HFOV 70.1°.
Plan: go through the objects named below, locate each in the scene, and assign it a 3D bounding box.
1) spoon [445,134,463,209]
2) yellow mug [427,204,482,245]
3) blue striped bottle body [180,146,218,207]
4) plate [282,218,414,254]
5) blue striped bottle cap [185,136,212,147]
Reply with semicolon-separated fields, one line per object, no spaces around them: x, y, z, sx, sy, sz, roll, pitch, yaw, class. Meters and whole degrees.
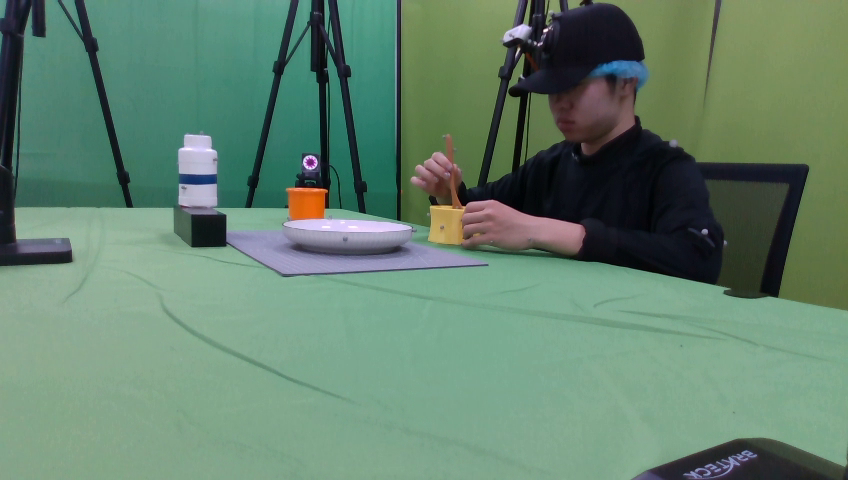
0.056;-0.102;1.137;0.041;0.193;0.022;2;14;45;spoon
0.062;-0.028;1.112;0.100;0.064;0.130;0;9;-20;yellow mug
-0.392;-0.118;1.053;0.063;0.120;0.063;2;8;0;blue striped bottle body
-0.121;-0.007;0.971;0.208;0.039;0.207;2;7;0;plate
-0.390;-0.169;1.047;0.044;0.020;0.044;4;10;0;blue striped bottle cap
